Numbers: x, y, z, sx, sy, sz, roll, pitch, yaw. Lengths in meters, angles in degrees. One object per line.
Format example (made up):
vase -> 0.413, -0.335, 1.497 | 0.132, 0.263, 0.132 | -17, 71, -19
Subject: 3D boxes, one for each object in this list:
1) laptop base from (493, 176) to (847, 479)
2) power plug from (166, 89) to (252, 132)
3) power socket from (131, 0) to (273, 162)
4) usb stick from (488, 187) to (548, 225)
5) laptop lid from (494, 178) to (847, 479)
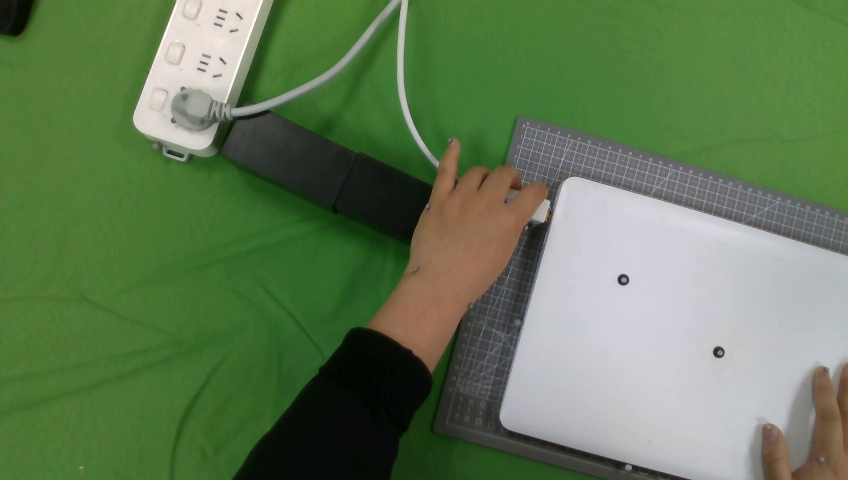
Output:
laptop base -> 0.258, 0.100, 0.556 | 0.355, 0.023, 0.235 | 16, 90, -4
power plug -> -0.181, -0.099, 0.508 | 0.072, 0.052, 0.035 | 32, 82, -4
power socket -> -0.186, -0.179, 0.533 | 0.072, 0.032, 0.226 | 19, 85, -4
usb stick -> 0.089, -0.028, 0.540 | 0.059, 0.027, 0.021 | 17, 87, -10
laptop lid -> 0.258, 0.102, 0.546 | 0.357, 0.013, 0.241 | 18, 89, -3
